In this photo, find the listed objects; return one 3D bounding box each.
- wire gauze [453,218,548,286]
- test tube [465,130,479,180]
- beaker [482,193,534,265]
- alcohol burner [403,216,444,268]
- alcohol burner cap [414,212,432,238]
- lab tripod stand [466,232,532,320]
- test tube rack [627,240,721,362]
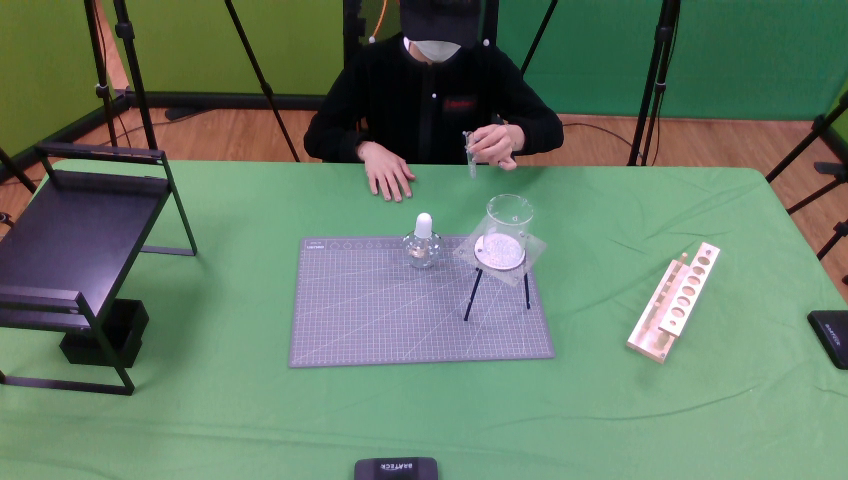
[{"bbox_3d":[0.129,0.014,1.018,0.124,0.011,0.121,26,47,25],"label":"wire gauze"},{"bbox_3d":[0.091,-0.157,1.139,0.017,0.151,0.017,-3,64,7],"label":"test tube"},{"bbox_3d":[0.135,-0.016,0.979,0.073,0.101,0.084,35,52,28],"label":"beaker"},{"bbox_3d":[-0.001,-0.004,1.132,0.078,0.120,0.077,1,46,0],"label":"alcohol burner"},{"bbox_3d":[0.000,-0.030,1.107,0.034,0.048,0.033,4,41,-3],"label":"alcohol burner cap"},{"bbox_3d":[0.125,0.059,1.065,0.148,0.132,0.147,1,45,0],"label":"lab tripod stand"},{"bbox_3d":[0.452,0.098,1.087,0.066,0.085,0.242,28,51,22],"label":"test tube rack"}]
